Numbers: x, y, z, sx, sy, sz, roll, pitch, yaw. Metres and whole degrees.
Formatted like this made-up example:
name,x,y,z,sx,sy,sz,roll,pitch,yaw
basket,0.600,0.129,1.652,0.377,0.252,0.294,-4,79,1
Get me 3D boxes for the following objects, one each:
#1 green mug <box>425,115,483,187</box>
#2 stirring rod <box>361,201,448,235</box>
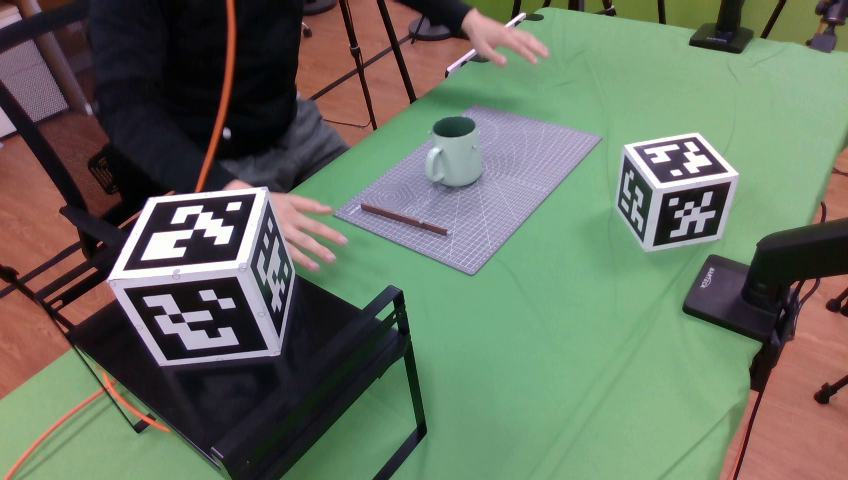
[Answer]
name,x,y,z,sx,sy,sz,roll,pitch,yaw
green mug,0.047,-0.148,1.068,0.092,0.105,0.125,24,50,31
stirring rod,-0.036,-0.038,1.019,0.175,0.014,0.006,19,53,27
